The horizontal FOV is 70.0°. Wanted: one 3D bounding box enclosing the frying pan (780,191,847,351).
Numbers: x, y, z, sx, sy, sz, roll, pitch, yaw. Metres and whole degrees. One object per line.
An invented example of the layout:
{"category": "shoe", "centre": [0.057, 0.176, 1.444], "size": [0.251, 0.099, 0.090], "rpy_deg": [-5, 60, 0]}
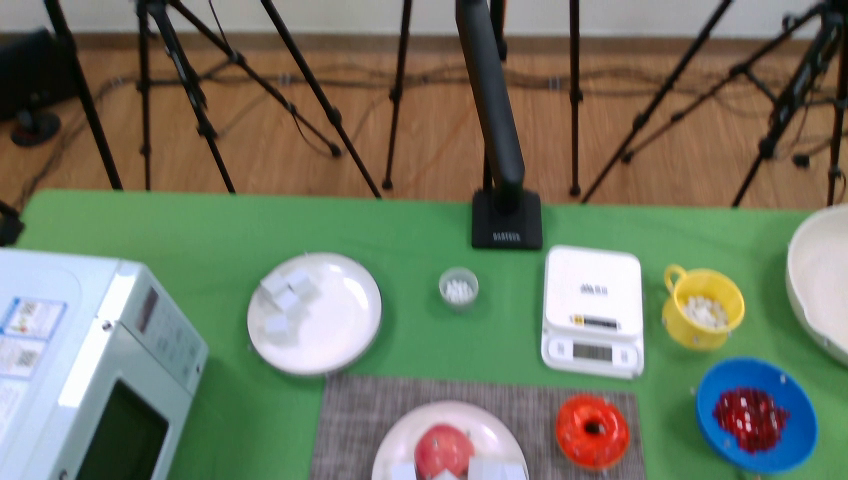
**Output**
{"category": "frying pan", "centre": [0.719, 0.130, 0.845], "size": [0.307, 0.104, 0.482], "rpy_deg": [-21, 51, -10]}

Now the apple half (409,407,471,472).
{"category": "apple half", "centre": [0.020, 0.259, 0.804], "size": [0.081, 0.054, 0.074], "rpy_deg": [-37, 60, -20]}

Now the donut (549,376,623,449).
{"category": "donut", "centre": [0.220, 0.235, 0.827], "size": [0.099, 0.048, 0.098], "rpy_deg": [-2, 58, 3]}

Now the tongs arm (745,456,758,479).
{"category": "tongs arm", "centre": [0.432, 0.447, 0.694], "size": [0.051, 0.027, 0.381], "rpy_deg": [5, 59, 1]}

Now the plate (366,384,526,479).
{"category": "plate", "centre": [0.028, 0.296, 0.798], "size": [0.209, 0.038, 0.207], "rpy_deg": [-1, 57, 2]}

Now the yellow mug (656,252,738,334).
{"category": "yellow mug", "centre": [0.401, 0.071, 0.917], "size": [0.100, 0.064, 0.129], "rpy_deg": [-26, 59, -13]}

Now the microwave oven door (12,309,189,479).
{"category": "microwave oven door", "centre": [-0.378, 0.286, 0.679], "size": [0.039, 0.246, 0.353], "rpy_deg": [4, 57, 5]}

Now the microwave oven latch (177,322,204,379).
{"category": "microwave oven latch", "centre": [-0.345, 0.160, 0.881], "size": [0.030, 0.030, 0.078], "rpy_deg": [6, 58, 6]}

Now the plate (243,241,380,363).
{"category": "plate", "centre": [-0.171, 0.097, 0.938], "size": [0.207, 0.039, 0.205], "rpy_deg": [-1, 57, 2]}

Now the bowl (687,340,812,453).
{"category": "bowl", "centre": [0.423, 0.218, 0.815], "size": [0.151, 0.077, 0.150], "rpy_deg": [-1, 58, 2]}

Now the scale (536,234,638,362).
{"category": "scale", "centre": [0.253, 0.084, 0.934], "size": [0.148, 0.032, 0.199], "rpy_deg": [6, 58, 7]}

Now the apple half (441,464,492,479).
{"category": "apple half", "centre": [0.053, 0.321, 0.773], "size": [0.081, 0.033, 0.080], "rpy_deg": [-2, 58, 4]}

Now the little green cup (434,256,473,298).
{"category": "little green cup", "centre": [0.047, 0.061, 0.953], "size": [0.061, 0.039, 0.061], "rpy_deg": [-1, 57, 2]}

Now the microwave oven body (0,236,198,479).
{"category": "microwave oven body", "centre": [-0.517, 0.242, 0.719], "size": [0.326, 0.262, 0.438], "rpy_deg": [5, 58, 5]}
